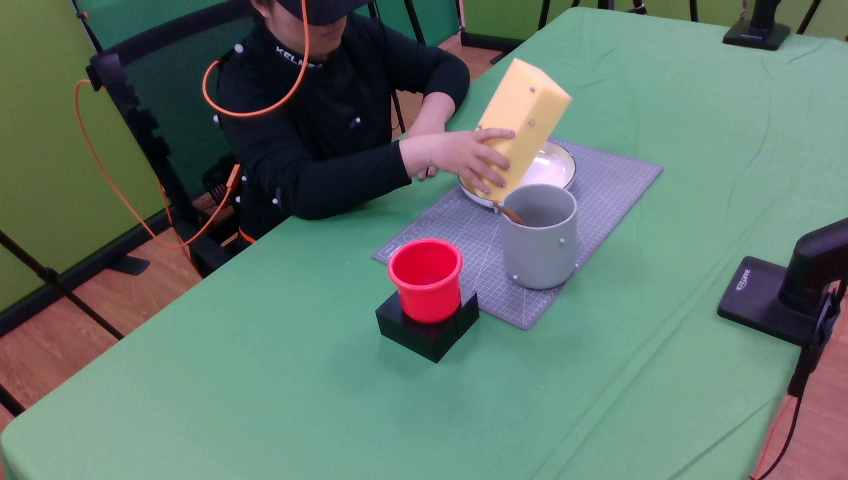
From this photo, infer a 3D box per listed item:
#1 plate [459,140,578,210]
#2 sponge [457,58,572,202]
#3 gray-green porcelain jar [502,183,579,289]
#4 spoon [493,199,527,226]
[{"bbox_3d":[0.166,-0.113,1.069,0.207,0.039,0.206,-5,40,5],"label":"plate"},{"bbox_3d":[0.145,-0.179,1.008,0.061,0.206,0.117,13,29,-29],"label":"sponge"},{"bbox_3d":[0.167,-0.001,0.866,0.106,0.127,0.105,-5,40,5],"label":"gray-green porcelain jar"},{"bbox_3d":[0.135,-0.016,0.832,0.021,0.195,0.041,-49,53,-1],"label":"spoon"}]
